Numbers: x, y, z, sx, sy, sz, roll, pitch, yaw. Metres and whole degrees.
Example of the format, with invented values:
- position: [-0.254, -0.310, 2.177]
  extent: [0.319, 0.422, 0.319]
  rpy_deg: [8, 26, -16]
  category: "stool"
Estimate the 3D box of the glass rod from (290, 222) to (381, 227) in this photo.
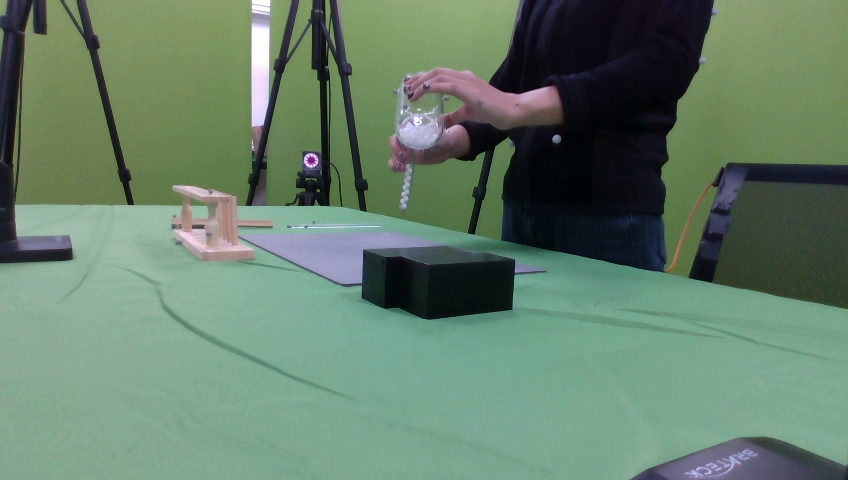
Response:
- position: [-0.178, -0.033, 1.247]
  extent: [0.201, 0.008, 0.008]
  rpy_deg: [-2, 8, -30]
  category: "glass rod"

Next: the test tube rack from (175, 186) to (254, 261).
- position: [-0.314, -0.031, 0.889]
  extent: [0.067, 0.085, 0.241]
  rpy_deg: [-2, 8, -30]
  category: "test tube rack"

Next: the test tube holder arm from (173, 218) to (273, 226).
- position: [-0.371, -0.033, 1.128]
  extent: [0.179, 0.015, 0.013]
  rpy_deg: [-1, -22, -26]
  category: "test tube holder arm"

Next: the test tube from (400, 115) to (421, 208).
- position: [-0.022, -0.123, 0.959]
  extent: [0.017, 0.150, 0.017]
  rpy_deg: [8, 20, -2]
  category: "test tube"

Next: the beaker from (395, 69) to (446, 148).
- position: [-0.006, -0.187, 0.878]
  extent: [0.074, 0.084, 0.100]
  rpy_deg: [8, 46, -7]
  category: "beaker"

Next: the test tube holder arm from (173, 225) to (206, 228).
- position: [-0.415, -0.030, 1.113]
  extent: [0.088, 0.015, 0.010]
  rpy_deg: [-1, -22, -25]
  category: "test tube holder arm"
